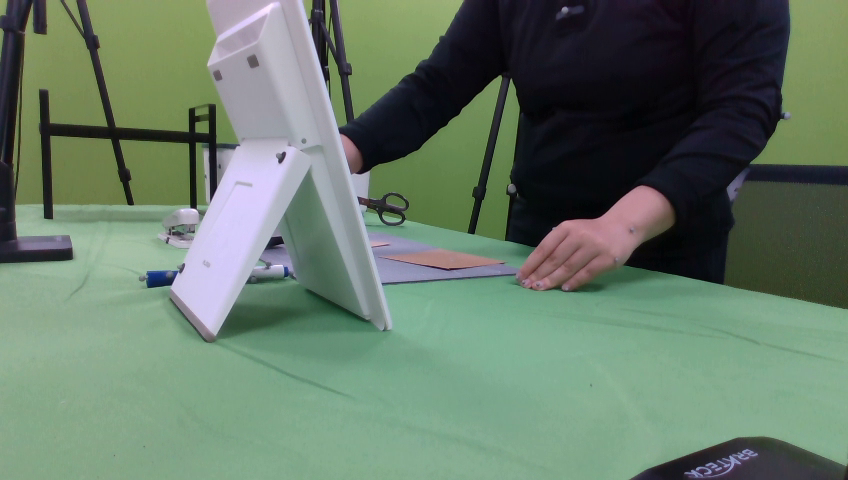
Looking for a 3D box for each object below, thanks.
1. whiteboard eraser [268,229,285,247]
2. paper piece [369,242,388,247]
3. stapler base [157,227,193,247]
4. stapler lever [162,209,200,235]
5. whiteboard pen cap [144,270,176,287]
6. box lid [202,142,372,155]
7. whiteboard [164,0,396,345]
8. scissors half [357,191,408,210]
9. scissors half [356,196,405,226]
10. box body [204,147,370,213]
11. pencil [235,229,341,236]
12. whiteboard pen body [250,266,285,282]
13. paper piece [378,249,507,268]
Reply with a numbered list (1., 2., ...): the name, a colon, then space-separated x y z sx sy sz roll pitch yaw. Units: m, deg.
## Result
1. whiteboard eraser: -0.255 -0.009 0.882 0.055 0.042 0.113 12 13 40
2. paper piece: -0.151 0.004 0.978 0.135 0.008 0.139 13 10 35
3. stapler base: -0.376 -0.007 0.935 0.041 0.024 0.130 1 5 -38
4. stapler lever: -0.376 -0.031 0.933 0.027 0.040 0.117 1 7 -38
5. whiteboard pen cap: -0.271 0.039 0.627 0.033 0.018 0.018 -4 10 -33
6. box lid: -0.344 -0.225 1.509 0.373 0.015 0.262 -2 8 -31
7. whiteboard: -0.173 -0.053 0.511 0.144 0.305 0.216 -23 19 -26
8. scissors half: -0.122 -0.091 1.318 0.175 0.040 0.013 4 13 -2
9. scissors half: -0.127 -0.072 1.322 0.175 0.040 0.013 22 6 -5
10. box body: -0.346 -0.152 1.520 0.366 0.160 0.253 -1 9 -31
11. pencil: -0.232 -0.012 1.053 0.195 0.012 0.012 0 8 -36
12. whiteboard pen body: -0.220 0.039 0.656 0.141 0.017 0.017 -2 9 -31
13. paper piece: 0.026 0.026 0.865 0.134 0.004 0.136 9 9 43
